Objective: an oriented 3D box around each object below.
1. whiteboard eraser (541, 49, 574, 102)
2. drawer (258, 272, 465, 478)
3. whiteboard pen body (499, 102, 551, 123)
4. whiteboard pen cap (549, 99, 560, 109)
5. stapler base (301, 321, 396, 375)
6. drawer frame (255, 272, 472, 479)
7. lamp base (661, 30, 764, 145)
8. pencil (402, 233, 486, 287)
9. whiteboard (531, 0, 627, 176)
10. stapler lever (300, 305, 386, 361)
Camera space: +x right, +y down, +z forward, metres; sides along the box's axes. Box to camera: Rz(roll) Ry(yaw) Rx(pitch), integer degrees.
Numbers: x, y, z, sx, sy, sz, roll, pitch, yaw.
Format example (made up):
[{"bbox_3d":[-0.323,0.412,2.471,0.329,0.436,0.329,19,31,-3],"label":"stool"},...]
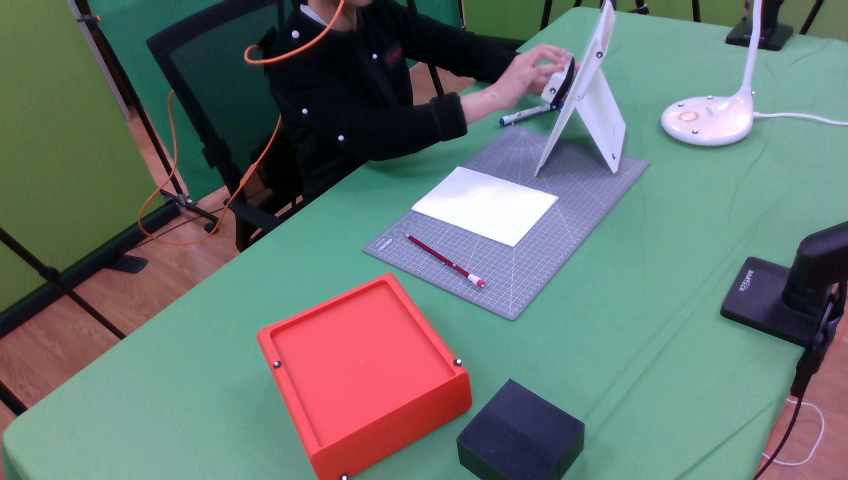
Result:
[{"bbox_3d":[0.244,-0.295,1.090,0.042,0.055,0.112,23,43,0],"label":"whiteboard eraser"},{"bbox_3d":[-0.081,0.160,0.764,0.195,0.073,0.210,-23,43,-17],"label":"drawer"},{"bbox_3d":[0.220,-0.268,1.256,0.141,0.017,0.017,-19,41,-14],"label":"whiteboard pen body"},{"bbox_3d":[0.275,-0.287,1.269,0.033,0.018,0.018,-17,41,-14],"label":"whiteboard pen cap"},{"bbox_3d":[-0.103,0.138,0.814,0.131,0.024,0.041,-20,38,-12],"label":"stapler base"},{"bbox_3d":[-0.079,0.161,0.760,0.202,0.083,0.211,-24,43,-18],"label":"drawer frame"},{"bbox_3d":[0.535,-0.287,1.096,0.179,0.181,0.159,-10,40,-4],"label":"lamp base"},{"bbox_3d":[0.026,0.028,0.949,0.012,0.012,0.192,-34,44,-26],"label":"pencil"},{"bbox_3d":[0.322,-0.259,1.050,0.143,0.306,0.217,22,46,6],"label":"whiteboard"},{"bbox_3d":[-0.107,0.121,0.799,0.118,0.040,0.026,-19,38,-13],"label":"stapler lever"}]
